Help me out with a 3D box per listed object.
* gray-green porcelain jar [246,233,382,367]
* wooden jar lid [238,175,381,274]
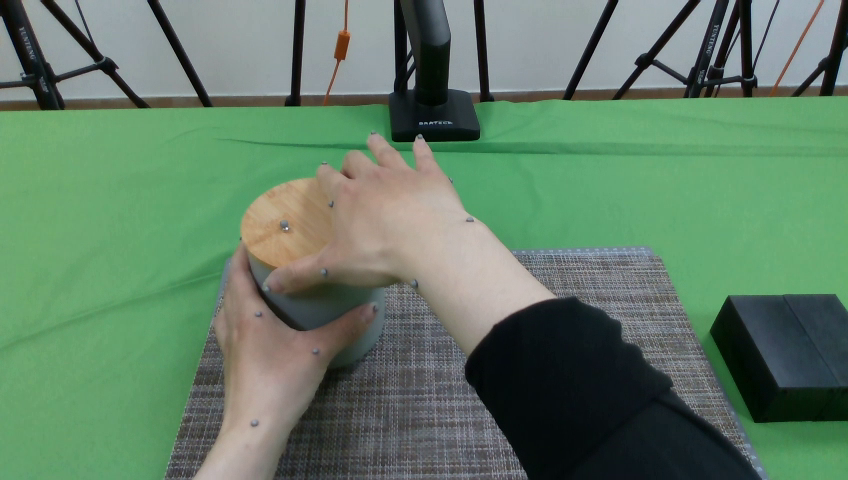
[{"bbox_3d":[-0.088,0.036,0.512,0.106,0.127,0.105,2,42,-1],"label":"gray-green porcelain jar"},{"bbox_3d":[-0.087,-0.010,0.470,0.108,0.021,0.107,3,44,-3],"label":"wooden jar lid"}]
